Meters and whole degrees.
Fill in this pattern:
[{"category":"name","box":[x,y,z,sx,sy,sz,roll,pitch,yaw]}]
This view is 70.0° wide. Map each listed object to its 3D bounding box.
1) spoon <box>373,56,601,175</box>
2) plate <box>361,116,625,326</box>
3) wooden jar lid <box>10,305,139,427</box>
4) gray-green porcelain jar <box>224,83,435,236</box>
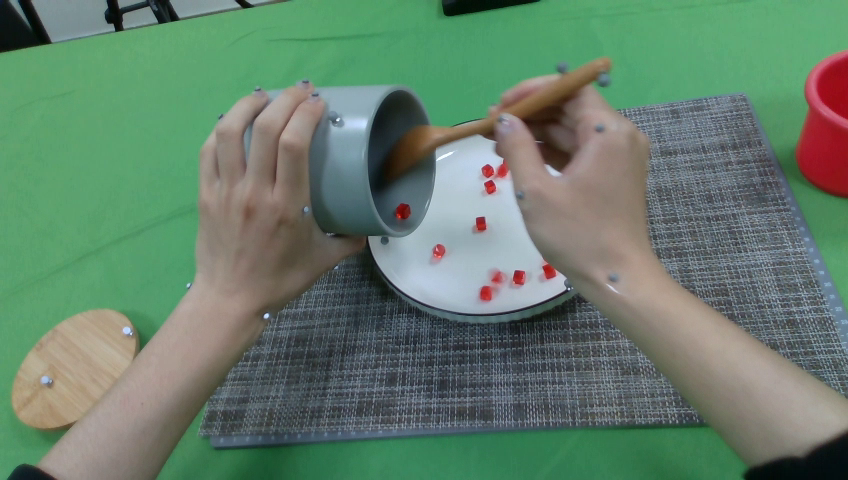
[{"category":"spoon","box":[0.028,-0.076,0.380,0.193,0.022,0.041,-11,47,44]},{"category":"plate","box":[0.054,-0.017,0.492,0.207,0.039,0.205,-7,51,9]},{"category":"wooden jar lid","box":[-0.285,0.104,0.503,0.108,0.021,0.107,-6,52,8]},{"category":"gray-green porcelain jar","box":[-0.070,-0.059,0.442,0.126,0.107,0.105,5,54,25]}]
